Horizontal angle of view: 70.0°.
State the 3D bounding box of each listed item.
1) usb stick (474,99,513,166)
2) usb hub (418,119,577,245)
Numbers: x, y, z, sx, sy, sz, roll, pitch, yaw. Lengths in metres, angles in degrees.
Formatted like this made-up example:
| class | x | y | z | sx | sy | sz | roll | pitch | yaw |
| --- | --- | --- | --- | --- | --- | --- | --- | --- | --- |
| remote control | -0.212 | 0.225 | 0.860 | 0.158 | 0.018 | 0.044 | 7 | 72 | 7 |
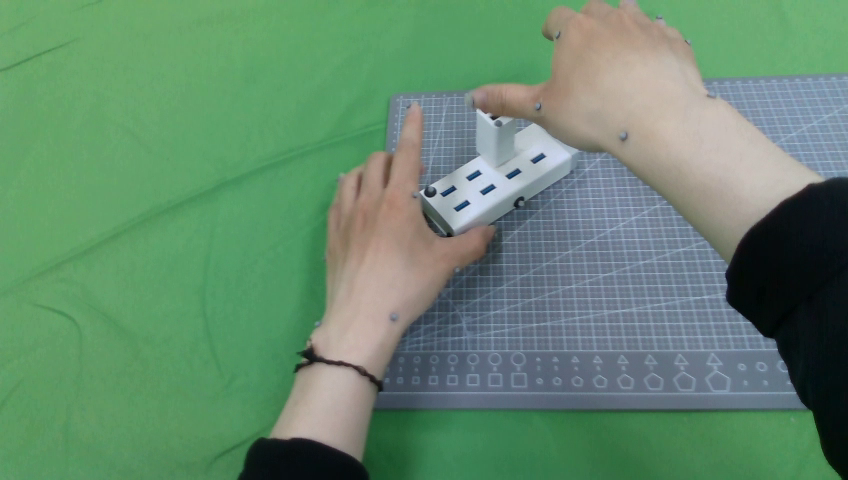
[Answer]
| class | x | y | z | sx | sy | sz | roll | pitch | yaw |
| --- | --- | --- | --- | --- | --- | --- | --- | --- | --- |
| usb stick | 0.054 | -0.078 | 0.471 | 0.021 | 0.060 | 0.027 | -33 | 57 | -14 |
| usb hub | 0.059 | -0.049 | 0.487 | 0.125 | 0.025 | 0.049 | -32 | 59 | -14 |
